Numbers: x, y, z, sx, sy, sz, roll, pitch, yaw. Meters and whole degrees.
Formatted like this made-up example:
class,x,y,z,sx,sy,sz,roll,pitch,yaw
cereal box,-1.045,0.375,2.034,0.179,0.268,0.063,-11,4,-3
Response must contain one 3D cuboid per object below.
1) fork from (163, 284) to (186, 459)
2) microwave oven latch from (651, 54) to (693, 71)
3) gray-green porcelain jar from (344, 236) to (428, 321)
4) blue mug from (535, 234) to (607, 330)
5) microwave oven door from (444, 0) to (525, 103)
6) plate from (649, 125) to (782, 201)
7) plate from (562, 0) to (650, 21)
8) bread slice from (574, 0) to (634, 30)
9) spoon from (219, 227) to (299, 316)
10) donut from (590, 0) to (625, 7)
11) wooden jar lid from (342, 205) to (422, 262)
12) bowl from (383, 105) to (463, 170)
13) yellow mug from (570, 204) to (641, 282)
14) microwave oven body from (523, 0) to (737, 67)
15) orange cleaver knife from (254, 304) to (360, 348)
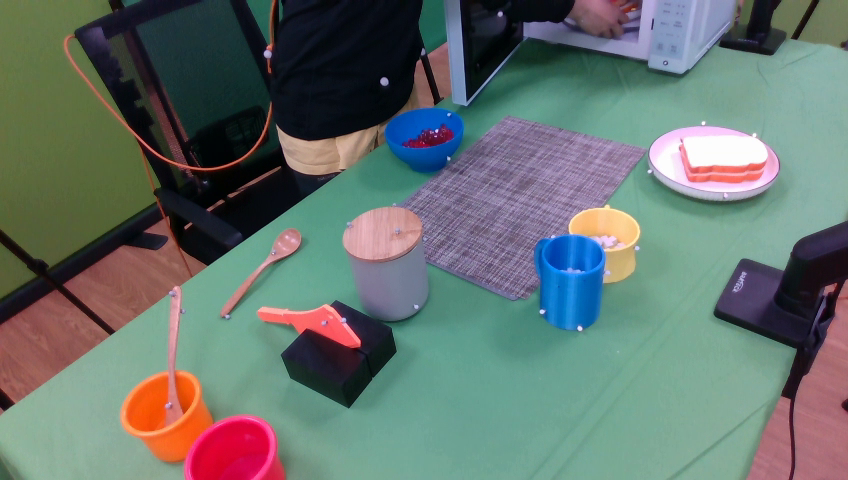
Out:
class,x,y,z,sx,sy,sz,roll,pitch,yaw
fork,-0.303,0.157,0.733,0.028,0.019,0.207,-3,84,12
microwave oven latch,0.532,-0.386,1.301,0.078,0.029,0.030,26,52,34
gray-green porcelain jar,-0.049,0.042,0.849,0.106,0.127,0.105,-4,41,4
blue mug,0.191,0.048,0.824,0.082,0.106,0.115,-26,44,-21
microwave oven door,0.141,-0.494,1.326,0.039,0.245,0.356,15,45,24
plate,0.493,-0.128,1.036,0.207,0.039,0.206,-4,41,4
plate,0.441,-0.576,1.464,0.209,0.038,0.208,-5,39,5
bread slice,0.432,-0.567,1.476,0.105,0.019,0.131,-35,66,-27
spoon,-0.261,0.046,0.954,0.041,0.021,0.194,27,48,10
donut,0.437,-0.591,1.439,0.099,0.048,0.098,-1,50,2
wooden jar lid,-0.055,-0.005,0.808,0.108,0.021,0.108,-6,40,6
bowl,0.002,-0.185,1.142,0.151,0.077,0.150,-4,41,4
yellow mug,0.268,-0.005,0.904,0.099,0.064,0.130,7,41,15
microwave oven body,0.475,-0.601,1.411,0.438,0.261,0.327,23,50,32
orange cleaver knife,-0.161,0.115,0.813,0.210,0.077,0.012,-4,33,46
